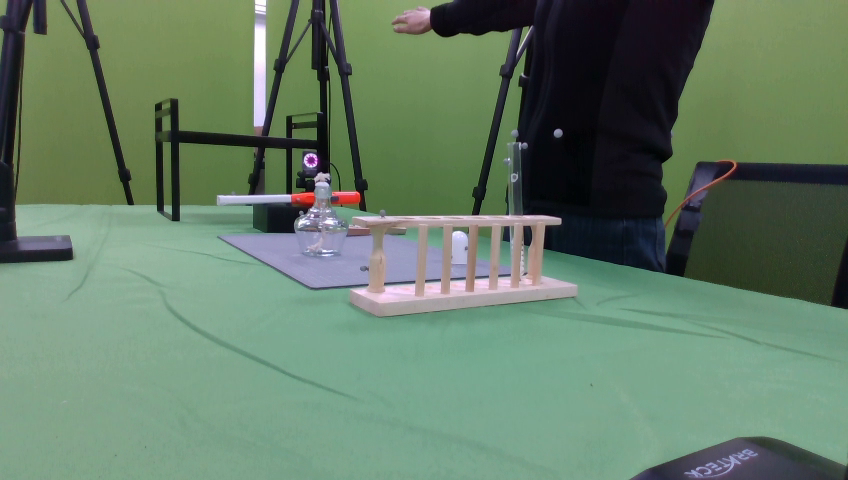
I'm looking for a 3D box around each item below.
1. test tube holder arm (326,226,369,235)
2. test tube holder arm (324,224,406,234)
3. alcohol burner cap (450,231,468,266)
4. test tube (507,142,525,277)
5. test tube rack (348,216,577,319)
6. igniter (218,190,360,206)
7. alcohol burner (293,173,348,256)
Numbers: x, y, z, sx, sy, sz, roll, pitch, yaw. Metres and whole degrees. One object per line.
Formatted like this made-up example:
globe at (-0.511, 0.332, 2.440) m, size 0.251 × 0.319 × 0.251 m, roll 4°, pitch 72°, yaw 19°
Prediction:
test tube holder arm at (-0.136, -0.017, 1.085) m, size 0.088 × 0.015 × 0.010 m, roll 0°, pitch 30°, yaw -42°
test tube holder arm at (-0.105, -0.020, 1.120) m, size 0.179 × 0.015 × 0.013 m, roll 0°, pitch 30°, yaw -43°
alcohol burner cap at (0.046, 0.011, 0.838) m, size 0.034 × 0.048 × 0.034 m, roll 2°, pitch 6°, yaw 0°
test tube at (0.101, -0.032, 0.664) m, size 0.017 × 0.150 × 0.017 m, roll -3°, pitch 9°, yaw 1°
test tube rack at (0.048, 0.021, 0.619) m, size 0.244 × 0.085 × 0.066 m, roll -2°, pitch 9°, yaw -31°
igniter at (-0.247, -0.080, 1.150) m, size 0.278 × 0.025 × 0.057 m, roll -5°, pitch 7°, yaw -29°
alcohol burner at (-0.146, -0.036, 0.859) m, size 0.078 × 0.119 × 0.078 m, roll 4°, pitch 8°, yaw 0°
